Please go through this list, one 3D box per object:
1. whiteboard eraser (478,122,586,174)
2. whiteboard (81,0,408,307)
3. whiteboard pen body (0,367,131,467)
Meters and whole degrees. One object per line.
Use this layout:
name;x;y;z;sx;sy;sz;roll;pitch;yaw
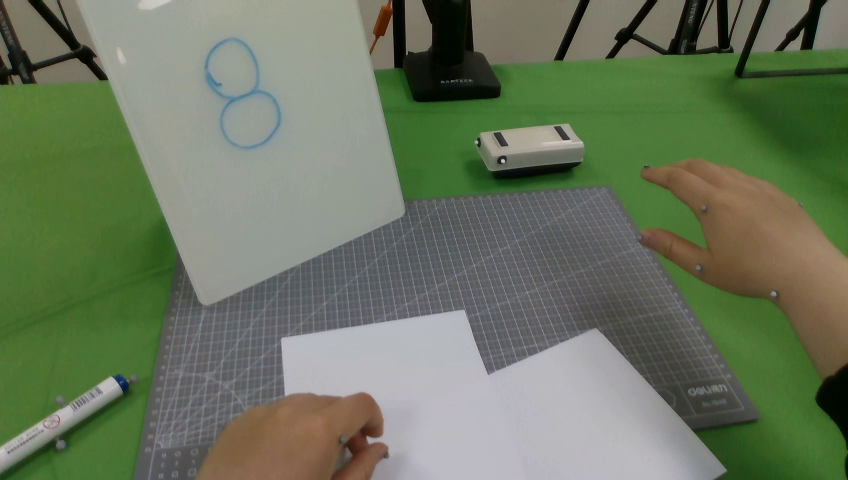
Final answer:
whiteboard eraser;0.122;-0.104;0.686;0.113;0.042;0.055;-6;44;-12
whiteboard;-0.168;-0.136;0.553;0.217;0.308;0.142;-26;29;-28
whiteboard pen body;-0.267;0.132;0.410;0.017;0.017;0.140;31;47;28
